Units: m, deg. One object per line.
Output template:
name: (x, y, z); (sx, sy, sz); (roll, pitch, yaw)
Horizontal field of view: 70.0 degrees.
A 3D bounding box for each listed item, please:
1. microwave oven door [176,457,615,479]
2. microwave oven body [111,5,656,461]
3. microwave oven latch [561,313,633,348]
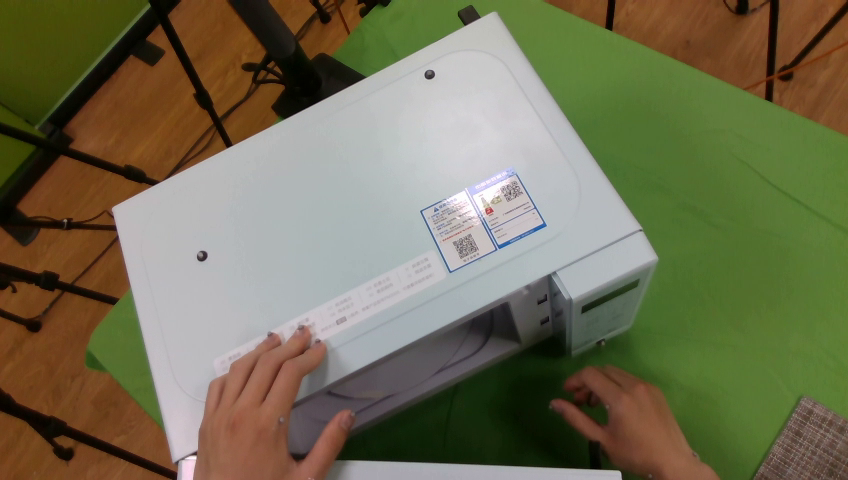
microwave oven door: (-0.008, 0.225, 0.570); (0.355, 0.246, 0.039); (-3, 67, 12)
microwave oven body: (-0.042, 0.019, 0.663); (0.442, 0.262, 0.323); (-27, 66, 2)
microwave oven latch: (0.196, 0.093, 0.687); (0.079, 0.030, 0.030); (-25, 66, 3)
